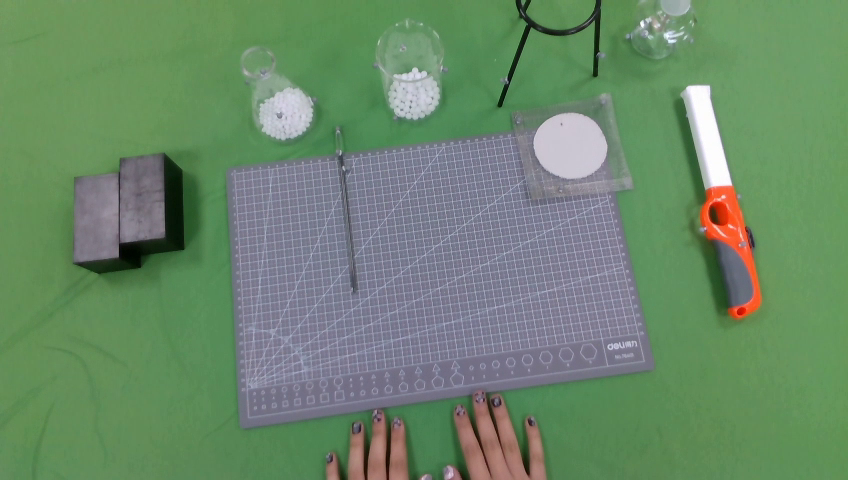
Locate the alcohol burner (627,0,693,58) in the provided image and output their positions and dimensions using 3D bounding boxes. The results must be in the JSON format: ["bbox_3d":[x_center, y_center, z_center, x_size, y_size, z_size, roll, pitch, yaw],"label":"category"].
[{"bbox_3d":[0.281,-0.267,0.708,0.078,0.119,0.077,0,77,2],"label":"alcohol burner"}]

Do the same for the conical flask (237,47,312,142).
[{"bbox_3d":[-0.174,-0.168,0.683,0.075,0.122,0.075,0,75,1],"label":"conical flask"}]

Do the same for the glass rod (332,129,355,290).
[{"bbox_3d":[-0.094,-0.039,0.703,0.008,0.008,0.198,-8,75,-2],"label":"glass rod"}]

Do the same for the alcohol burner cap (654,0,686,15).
[{"bbox_3d":[0.279,-0.278,0.674,0.034,0.048,0.033,-2,73,6],"label":"alcohol burner cap"}]

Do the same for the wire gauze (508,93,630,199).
[{"bbox_3d":[0.172,-0.112,0.721,0.125,0.011,0.121,-9,76,-2],"label":"wire gauze"}]

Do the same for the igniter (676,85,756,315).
[{"bbox_3d":[0.334,-0.051,0.696,0.057,0.025,0.275,-4,75,-10],"label":"igniter"}]

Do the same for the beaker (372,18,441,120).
[{"bbox_3d":[-0.019,-0.193,0.700,0.074,0.101,0.083,-5,74,-1],"label":"beaker"}]

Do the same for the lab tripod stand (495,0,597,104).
[{"bbox_3d":[0.136,-0.234,0.691,0.148,0.132,0.147,0,77,1],"label":"lab tripod stand"}]
